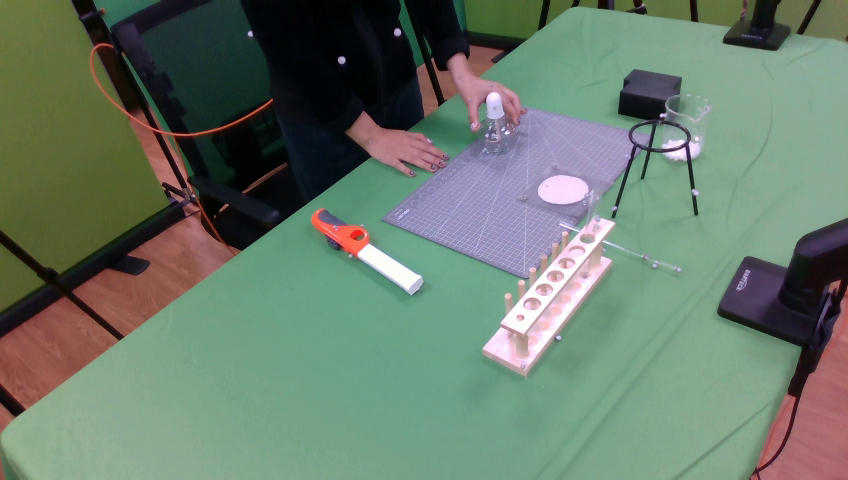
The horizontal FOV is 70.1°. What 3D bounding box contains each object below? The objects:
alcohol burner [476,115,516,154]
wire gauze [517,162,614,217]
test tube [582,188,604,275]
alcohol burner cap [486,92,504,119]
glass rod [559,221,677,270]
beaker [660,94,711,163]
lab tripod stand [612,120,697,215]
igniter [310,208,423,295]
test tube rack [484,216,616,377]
[{"bbox_3d":[0.136,-0.225,1.146,0.078,0.119,0.077,-5,42,5],"label":"alcohol burner"},{"bbox_3d":[0.245,-0.088,1.046,0.120,0.011,0.125,25,50,32],"label":"wire gauze"},{"bbox_3d":[0.228,-0.007,0.821,0.017,0.151,0.017,-3,42,3],"label":"test tube"},{"bbox_3d":[0.130,-0.252,1.122,0.034,0.048,0.033,-9,39,8],"label":"alcohol burner cap"},{"bbox_3d":[0.292,0.007,0.927,0.198,0.008,0.008,26,52,36],"label":"glass rod"},{"bbox_3d":[0.457,-0.192,1.063,0.074,0.101,0.083,-7,41,4],"label":"beaker"},{"bbox_3d":[0.369,-0.112,0.958,0.148,0.132,0.147,-4,40,4],"label":"lab tripod stand"},{"bbox_3d":[-0.103,0.012,0.982,0.057,0.025,0.274,-42,49,-20],"label":"igniter"},{"bbox_3d":[0.174,0.064,0.823,0.066,0.085,0.243,23,49,32],"label":"test tube rack"}]
